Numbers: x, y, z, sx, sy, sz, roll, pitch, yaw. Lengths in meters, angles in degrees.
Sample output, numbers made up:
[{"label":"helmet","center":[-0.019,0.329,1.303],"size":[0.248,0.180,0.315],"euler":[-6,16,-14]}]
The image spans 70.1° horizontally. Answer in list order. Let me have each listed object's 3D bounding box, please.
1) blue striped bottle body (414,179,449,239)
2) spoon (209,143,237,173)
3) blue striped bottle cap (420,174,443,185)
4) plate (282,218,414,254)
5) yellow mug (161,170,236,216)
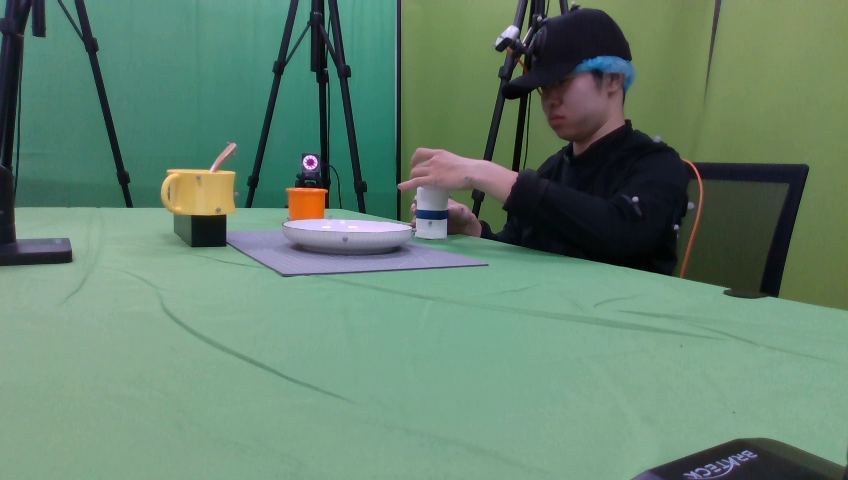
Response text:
[{"label":"blue striped bottle body","center":[0.015,-0.065,1.166],"size":[0.063,0.120,0.063],"euler":[2,8,0]},{"label":"spoon","center":[-0.341,-0.113,0.990],"size":[0.041,0.021,0.193],"euler":[1,40,6]},{"label":"blue striped bottle cap","center":[0.015,-0.115,1.160],"size":[0.044,0.020,0.044],"euler":[5,8,0]},{"label":"plate","center":[-0.121,-0.007,0.971],"size":[0.208,0.039,0.207],"euler":[2,7,0]},{"label":"yellow mug","center":[-0.354,-0.074,0.935],"size":[0.099,0.064,0.131],"euler":[5,10,21]}]
